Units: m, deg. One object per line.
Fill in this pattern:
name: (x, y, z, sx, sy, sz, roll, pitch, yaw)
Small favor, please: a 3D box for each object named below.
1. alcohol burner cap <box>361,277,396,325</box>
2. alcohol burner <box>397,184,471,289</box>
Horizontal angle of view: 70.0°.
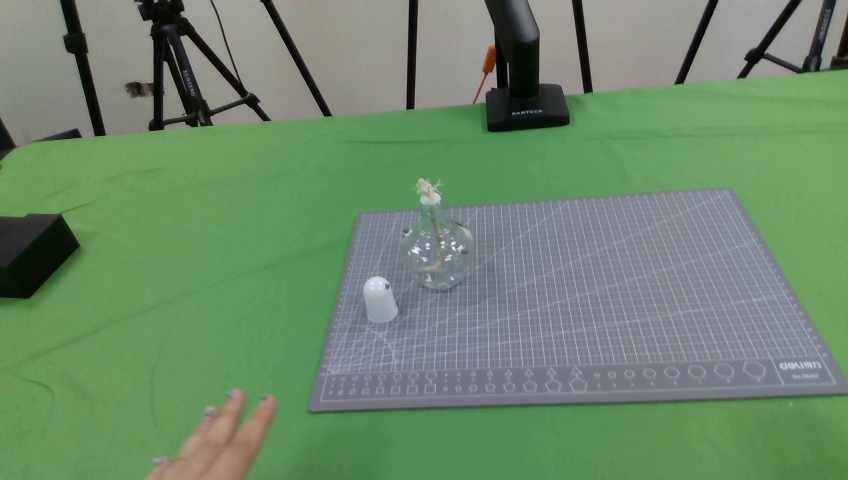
alcohol burner cap: (-0.047, 0.058, 0.604, 0.034, 0.048, 0.033, -5, 39, 5)
alcohol burner: (0.009, -0.008, 0.618, 0.078, 0.120, 0.077, -4, 39, 4)
